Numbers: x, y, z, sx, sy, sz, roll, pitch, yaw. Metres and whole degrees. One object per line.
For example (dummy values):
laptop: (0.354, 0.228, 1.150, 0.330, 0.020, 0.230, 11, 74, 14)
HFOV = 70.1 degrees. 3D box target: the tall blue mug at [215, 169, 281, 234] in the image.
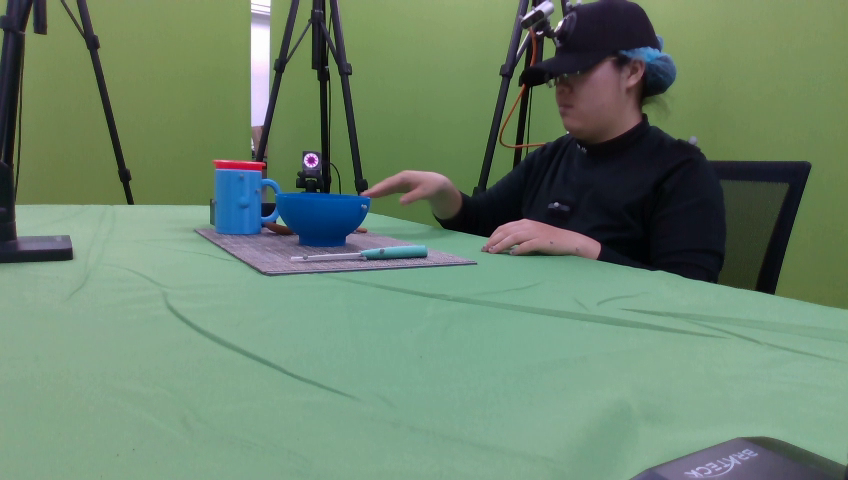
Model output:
tall blue mug: (-0.313, -0.069, 1.061, 0.077, 0.108, 0.108, 6, 8, 31)

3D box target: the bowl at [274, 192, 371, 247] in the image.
bowl: (-0.161, -0.033, 0.958, 0.151, 0.077, 0.151, 3, 8, 0)

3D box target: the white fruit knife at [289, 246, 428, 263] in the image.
white fruit knife: (-0.082, 0.022, 0.822, 0.208, 0.016, 0.027, -3, -20, -30)

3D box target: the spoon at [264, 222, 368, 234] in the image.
spoon: (-0.191, -0.023, 1.090, 0.195, 0.021, 0.041, -2, -8, -29)
